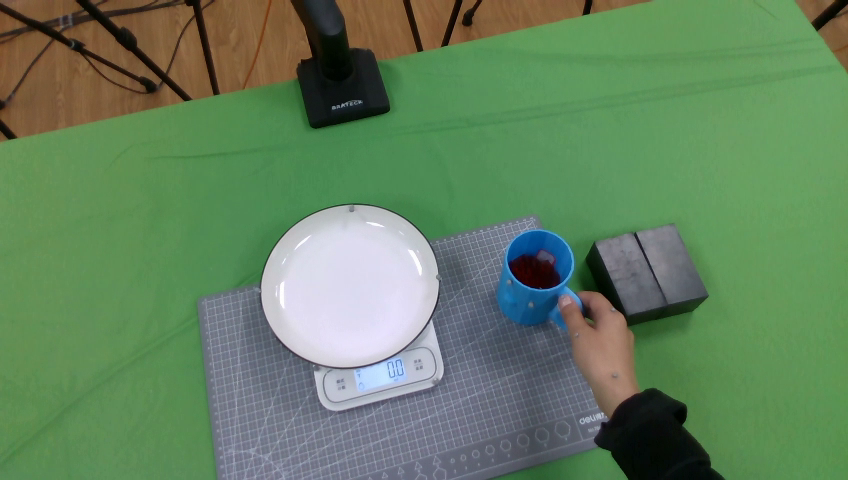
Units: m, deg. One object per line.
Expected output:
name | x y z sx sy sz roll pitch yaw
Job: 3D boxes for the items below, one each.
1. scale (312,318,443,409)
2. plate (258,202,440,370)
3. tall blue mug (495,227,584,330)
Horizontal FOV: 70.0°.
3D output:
scale | -0.069 0.091 0.732 0.149 0.032 0.199 -13 65 -5
plate | -0.085 0.054 0.713 0.209 0.038 0.207 0 64 0
tall blue mug | 0.140 0.049 0.706 0.107 0.109 0.077 19 65 10
